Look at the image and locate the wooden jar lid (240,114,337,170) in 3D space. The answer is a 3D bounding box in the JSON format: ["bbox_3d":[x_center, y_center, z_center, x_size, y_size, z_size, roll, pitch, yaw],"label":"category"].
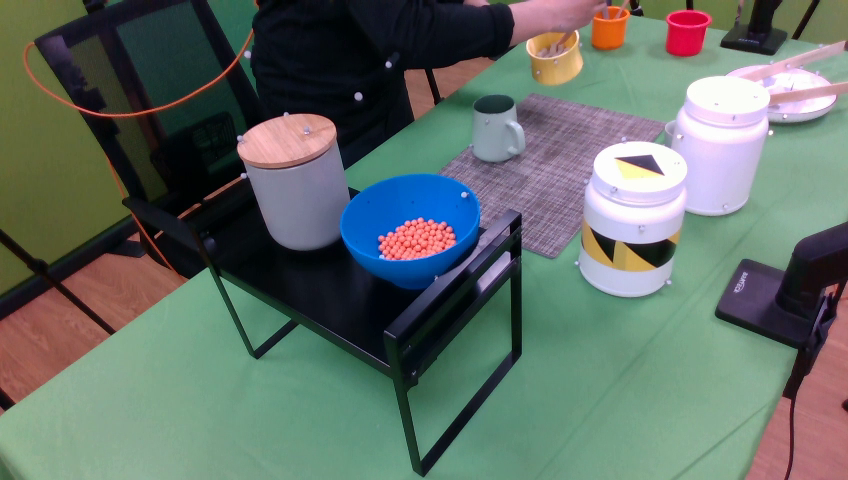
[{"bbox_3d":[-0.149,-0.106,0.673,0.108,0.021,0.108,-6,38,5],"label":"wooden jar lid"}]

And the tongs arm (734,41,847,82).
[{"bbox_3d":[0.712,-0.332,1.194,0.386,0.026,0.050,-18,45,-16],"label":"tongs arm"}]

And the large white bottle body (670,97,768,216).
[{"bbox_3d":[0.458,-0.146,0.952,0.130,0.185,0.130,-4,40,4],"label":"large white bottle body"}]

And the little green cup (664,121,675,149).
[{"bbox_3d":[0.472,-0.188,1.113,0.061,0.039,0.061,-5,40,4],"label":"little green cup"}]

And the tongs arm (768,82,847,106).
[{"bbox_3d":[0.738,-0.282,1.134,0.388,0.028,0.028,-9,46,-5],"label":"tongs arm"}]

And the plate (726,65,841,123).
[{"bbox_3d":[0.695,-0.282,1.189,0.207,0.039,0.206,-4,40,4],"label":"plate"}]

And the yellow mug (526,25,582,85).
[{"bbox_3d":[0.252,-0.372,1.184,0.100,0.064,0.130,-16,51,10],"label":"yellow mug"}]

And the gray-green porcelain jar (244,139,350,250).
[{"bbox_3d":[-0.143,-0.060,0.714,0.106,0.127,0.105,-4,41,4],"label":"gray-green porcelain jar"}]

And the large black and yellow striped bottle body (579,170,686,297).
[{"bbox_3d":[0.287,-0.027,0.841,0.131,0.185,0.130,-4,41,4],"label":"large black and yellow striped bottle body"}]

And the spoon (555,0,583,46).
[{"bbox_3d":[0.284,-0.429,1.084,0.021,0.194,0.041,30,49,8],"label":"spoon"}]

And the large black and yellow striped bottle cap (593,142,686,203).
[{"bbox_3d":[0.280,-0.090,0.786,0.115,0.019,0.114,-5,41,5],"label":"large black and yellow striped bottle cap"}]

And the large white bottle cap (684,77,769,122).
[{"bbox_3d":[0.448,-0.210,0.898,0.115,0.018,0.114,-4,40,4],"label":"large white bottle cap"}]

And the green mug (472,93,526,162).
[{"bbox_3d":[0.144,-0.202,1.122,0.093,0.105,0.124,-29,45,-23],"label":"green mug"}]

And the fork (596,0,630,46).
[{"bbox_3d":[0.481,-0.556,1.453,0.028,0.019,0.207,40,103,38],"label":"fork"}]

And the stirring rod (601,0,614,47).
[{"bbox_3d":[0.439,-0.552,1.463,0.014,0.006,0.175,-7,83,3],"label":"stirring rod"}]

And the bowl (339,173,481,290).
[{"bbox_3d":[-0.011,0.001,0.660,0.151,0.077,0.150,-5,41,5],"label":"bowl"}]
